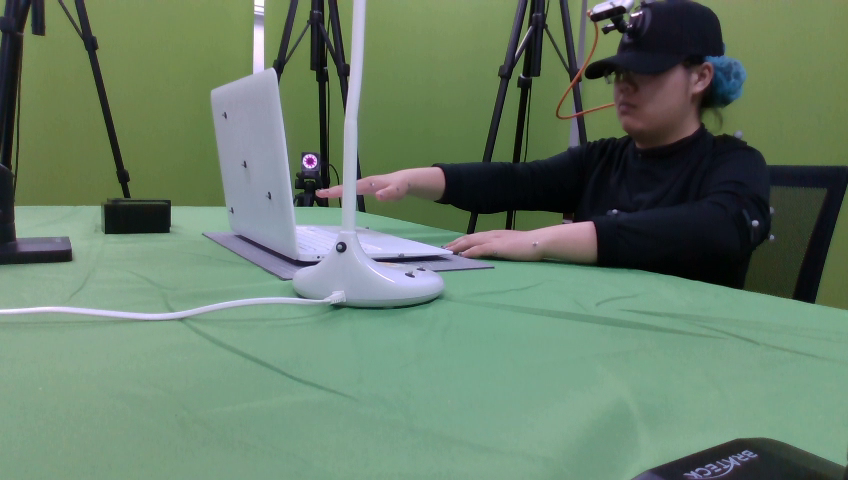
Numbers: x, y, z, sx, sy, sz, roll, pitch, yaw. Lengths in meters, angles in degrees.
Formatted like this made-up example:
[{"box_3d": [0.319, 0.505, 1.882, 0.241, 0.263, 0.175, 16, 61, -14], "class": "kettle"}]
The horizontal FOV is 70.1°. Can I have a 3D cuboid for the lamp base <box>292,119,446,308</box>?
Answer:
[{"box_3d": [-0.056, -0.030, 0.616, 0.160, 0.180, 0.179, 3, 10, 8], "class": "lamp base"}]

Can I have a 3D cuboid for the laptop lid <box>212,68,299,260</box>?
[{"box_3d": [-0.254, -0.110, 0.872, 0.013, 0.241, 0.355, -11, 14, -30], "class": "laptop lid"}]

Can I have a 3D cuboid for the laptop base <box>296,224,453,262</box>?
[{"box_3d": [-0.143, 0.003, 0.957, 0.237, 0.023, 0.352, 2, 6, -32], "class": "laptop base"}]
